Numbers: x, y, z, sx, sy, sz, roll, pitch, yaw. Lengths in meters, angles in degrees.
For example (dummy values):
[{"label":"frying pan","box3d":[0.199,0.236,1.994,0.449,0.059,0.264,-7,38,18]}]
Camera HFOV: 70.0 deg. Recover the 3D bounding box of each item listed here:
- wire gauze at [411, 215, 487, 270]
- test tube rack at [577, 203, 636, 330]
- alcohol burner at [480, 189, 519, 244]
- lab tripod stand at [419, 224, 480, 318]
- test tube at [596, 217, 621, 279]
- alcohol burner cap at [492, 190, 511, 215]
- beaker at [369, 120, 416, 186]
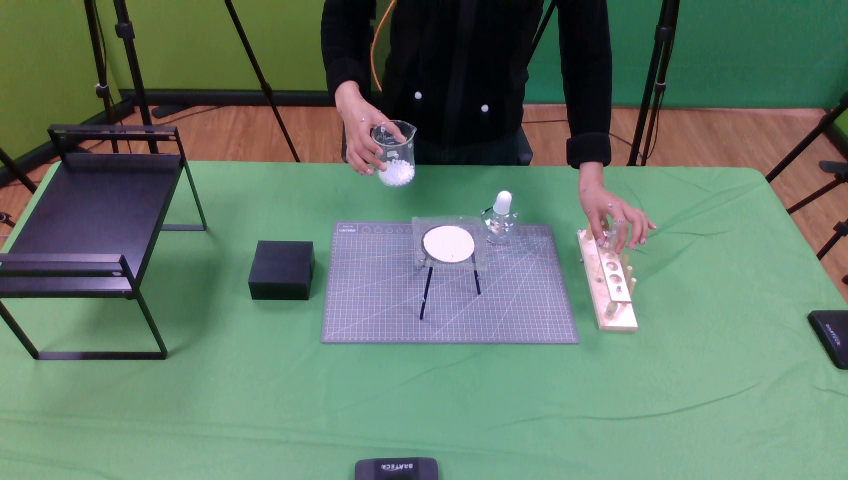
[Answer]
[{"label":"wire gauze","box3d":[0.041,0.002,1.026,0.125,0.011,0.120,1,46,-3]},{"label":"test tube rack","box3d":[0.348,0.045,1.138,0.067,0.085,0.241,3,46,-2]},{"label":"alcohol burner","box3d":[0.150,-0.051,1.190,0.078,0.120,0.077,1,46,-1]},{"label":"lab tripod stand","box3d":[0.034,0.051,1.070,0.148,0.132,0.147,3,48,-3]},{"label":"test tube","box3d":[0.331,0.018,1.094,0.017,0.151,0.017,0,45,0]},{"label":"alcohol burner cap","box3d":[0.151,-0.075,1.165,0.034,0.048,0.033,5,49,-6]},{"label":"beaker","box3d":[-0.052,-0.153,1.078,0.084,0.101,0.073,-22,51,-17]}]
